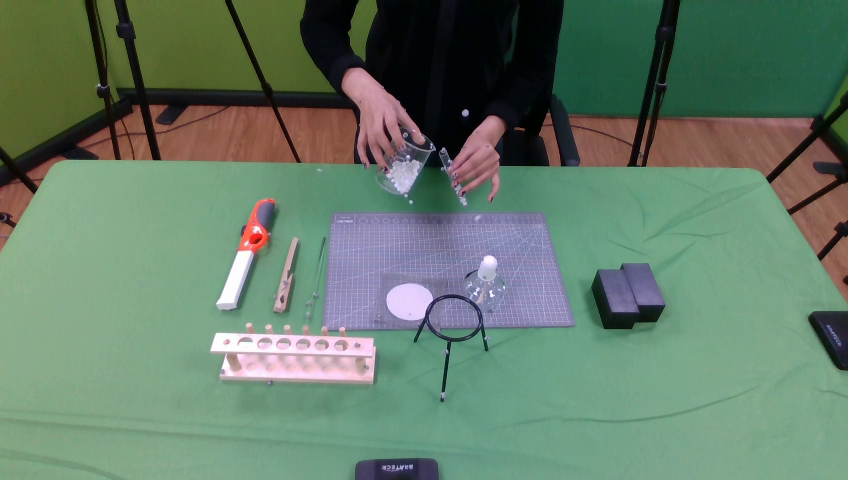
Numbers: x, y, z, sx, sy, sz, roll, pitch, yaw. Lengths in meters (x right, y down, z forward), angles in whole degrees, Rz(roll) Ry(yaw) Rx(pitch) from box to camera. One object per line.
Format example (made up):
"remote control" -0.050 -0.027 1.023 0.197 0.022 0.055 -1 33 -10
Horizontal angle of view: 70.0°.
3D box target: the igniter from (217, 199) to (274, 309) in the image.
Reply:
"igniter" -0.336 0.017 1.152 0.057 0.025 0.275 -2 45 8

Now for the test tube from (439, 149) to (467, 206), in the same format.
"test tube" 0.054 -0.111 1.117 0.017 0.151 0.017 -11 52 14

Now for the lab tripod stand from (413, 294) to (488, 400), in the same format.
"lab tripod stand" 0.045 0.160 0.972 0.148 0.132 0.147 3 44 -2

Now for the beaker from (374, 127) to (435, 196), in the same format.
"beaker" -0.036 -0.134 1.055 0.084 0.100 0.073 14 34 -25

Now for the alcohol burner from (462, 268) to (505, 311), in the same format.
"alcohol burner" 0.108 0.071 1.072 0.078 0.119 0.077 4 46 -3

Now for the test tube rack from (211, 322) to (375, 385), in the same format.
"test tube rack" -0.202 0.177 0.969 0.242 0.085 0.066 3 46 -2

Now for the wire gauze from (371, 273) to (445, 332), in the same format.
"wire gauze" -0.028 0.109 1.099 0.125 0.011 0.121 7 45 4

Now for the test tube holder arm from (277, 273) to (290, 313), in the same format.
"test tube holder arm" -0.254 0.093 1.094 0.010 0.015 0.087 30 38 -28

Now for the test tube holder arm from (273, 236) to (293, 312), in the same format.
"test tube holder arm" -0.260 0.059 1.122 0.013 0.015 0.177 29 38 -30

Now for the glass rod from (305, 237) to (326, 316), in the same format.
"glass rod" -0.202 0.064 1.131 0.008 0.008 0.198 4 43 0

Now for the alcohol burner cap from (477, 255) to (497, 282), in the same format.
"alcohol burner cap" 0.110 0.047 1.045 0.034 0.048 0.033 2 52 -2
